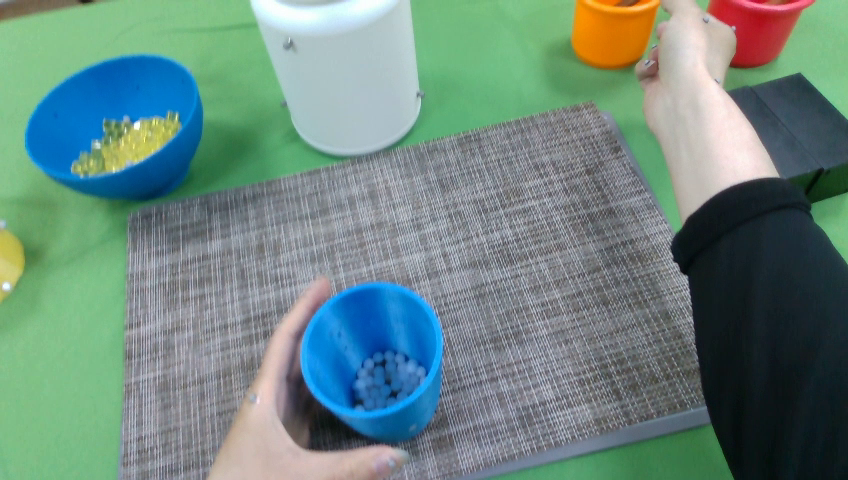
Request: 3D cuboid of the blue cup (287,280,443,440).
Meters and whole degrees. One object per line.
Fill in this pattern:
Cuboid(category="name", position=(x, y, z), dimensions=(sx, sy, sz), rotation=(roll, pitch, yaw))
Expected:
Cuboid(category="blue cup", position=(-0.026, 0.088, 0.397), dimensions=(0.092, 0.101, 0.092), rotation=(-3, 57, 5))

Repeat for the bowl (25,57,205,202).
Cuboid(category="bowl", position=(-0.266, -0.088, 0.556), dimensions=(0.151, 0.077, 0.150), rotation=(-2, 56, 4))

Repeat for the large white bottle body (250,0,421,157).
Cuboid(category="large white bottle body", position=(-0.074, -0.179, 0.534), dimensions=(0.130, 0.186, 0.129), rotation=(-2, 56, 4))

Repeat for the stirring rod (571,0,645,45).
Cuboid(category="stirring rod", position=(0.214, -0.236, 0.574), dimensions=(0.176, 0.006, 0.014), rotation=(-26, 44, 41))

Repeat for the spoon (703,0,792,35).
Cuboid(category="spoon", position=(0.346, -0.224, 0.549), dimensions=(0.041, 0.022, 0.193), rotation=(-52, 22, -23))

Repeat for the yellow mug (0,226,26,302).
Cuboid(category="yellow mug", position=(-0.404, 0.026, 0.499), dimensions=(0.100, 0.064, 0.129), rotation=(-4, 57, 2))
